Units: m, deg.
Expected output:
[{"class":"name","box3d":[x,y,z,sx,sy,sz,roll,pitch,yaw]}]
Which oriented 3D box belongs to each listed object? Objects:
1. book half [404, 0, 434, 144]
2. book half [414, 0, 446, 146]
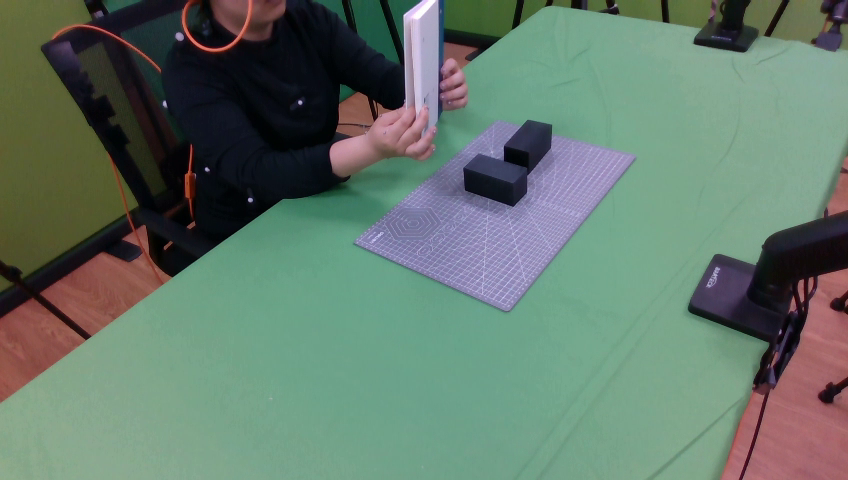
[{"class":"book half","box3d":[-0.001,-0.282,0.998,0.007,0.211,0.143,13,39,17]},{"class":"book half","box3d":[0.011,-0.281,0.997,0.016,0.211,0.148,10,38,13]}]
